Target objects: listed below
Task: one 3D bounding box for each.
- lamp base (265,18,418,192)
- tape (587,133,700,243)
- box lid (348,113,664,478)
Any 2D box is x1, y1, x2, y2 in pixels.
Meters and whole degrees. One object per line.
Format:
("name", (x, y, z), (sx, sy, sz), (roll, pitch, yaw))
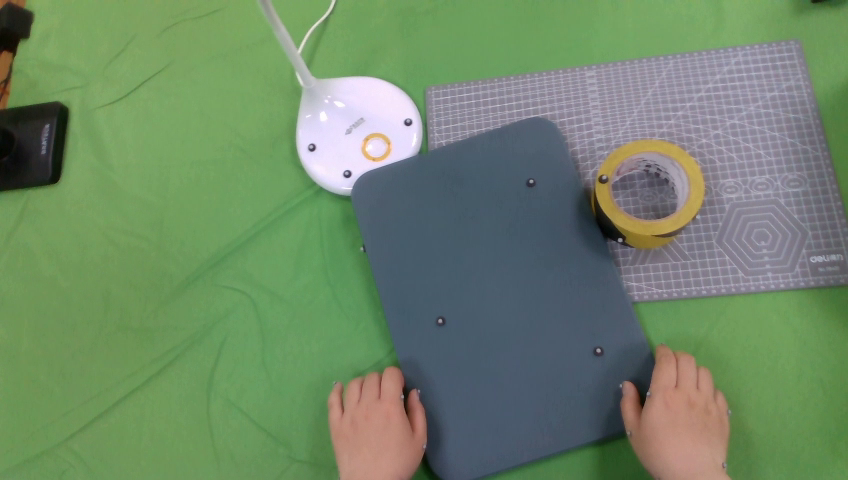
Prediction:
("lamp base", (-0.109, -0.163, 0.688), (0.178, 0.181, 0.160), (33, 81, 19))
("tape", (0.239, -0.057, 0.668), (0.117, 0.053, 0.116), (-2, 74, 8))
("box lid", (0.080, 0.048, 0.679), (0.263, 0.015, 0.369), (-19, 75, 1))
